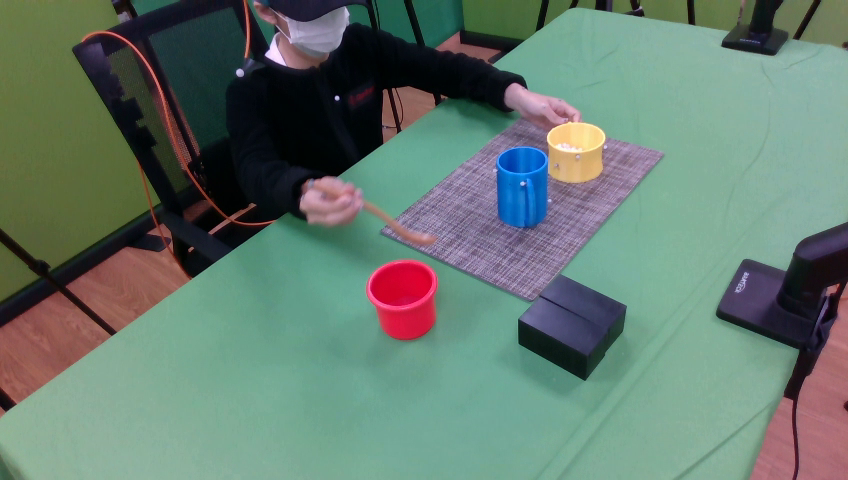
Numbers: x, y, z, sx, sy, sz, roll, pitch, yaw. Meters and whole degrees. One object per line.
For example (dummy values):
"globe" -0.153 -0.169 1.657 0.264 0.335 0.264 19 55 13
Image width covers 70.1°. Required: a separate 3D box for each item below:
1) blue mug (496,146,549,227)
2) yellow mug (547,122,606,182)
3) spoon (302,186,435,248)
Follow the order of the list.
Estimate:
"blue mug" 0.162 -0.076 0.969 0.082 0.106 0.116 -9 40 -1
"yellow mug" 0.270 -0.167 1.090 0.100 0.064 0.130 -6 39 3
"spoon" -0.067 -0.029 0.768 0.021 0.195 0.041 -61 28 2
